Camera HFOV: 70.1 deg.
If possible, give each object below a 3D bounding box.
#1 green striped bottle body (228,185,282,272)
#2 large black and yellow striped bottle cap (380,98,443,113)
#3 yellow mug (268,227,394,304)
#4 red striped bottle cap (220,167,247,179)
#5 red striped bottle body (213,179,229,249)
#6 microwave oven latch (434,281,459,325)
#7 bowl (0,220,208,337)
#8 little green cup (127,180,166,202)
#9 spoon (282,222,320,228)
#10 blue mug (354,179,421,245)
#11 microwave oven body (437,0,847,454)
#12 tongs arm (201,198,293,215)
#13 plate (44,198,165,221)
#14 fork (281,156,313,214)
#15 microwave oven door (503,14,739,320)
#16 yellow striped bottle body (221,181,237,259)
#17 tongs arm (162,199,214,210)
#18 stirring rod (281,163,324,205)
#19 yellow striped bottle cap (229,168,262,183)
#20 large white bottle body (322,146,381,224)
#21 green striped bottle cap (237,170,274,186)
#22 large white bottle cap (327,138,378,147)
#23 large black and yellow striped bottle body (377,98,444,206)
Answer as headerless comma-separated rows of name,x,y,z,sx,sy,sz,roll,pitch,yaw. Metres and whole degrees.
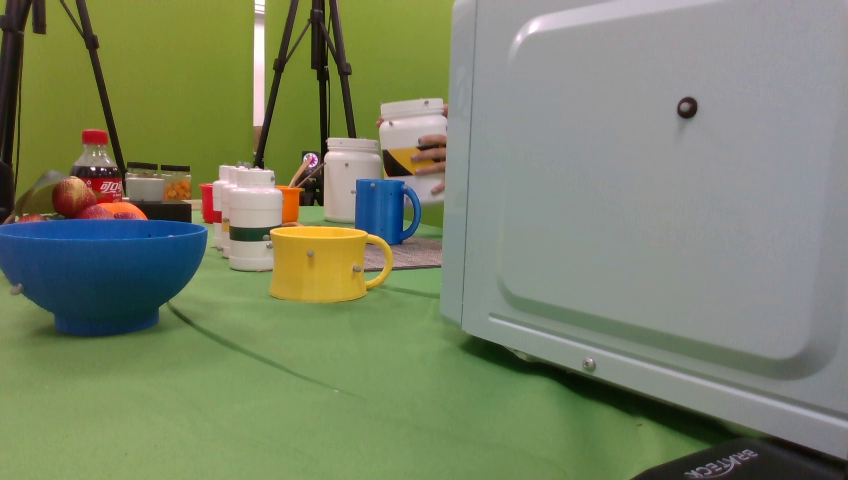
green striped bottle body,-0.208,-0.024,0.745,0.063,0.119,0.063,2,7,0
large black and yellow striped bottle cap,-0.023,-0.243,1.097,0.115,0.019,0.115,-6,10,1
yellow mug,-0.094,0.023,0.630,0.131,0.064,0.099,0,8,-22
red striped bottle cap,-0.281,-0.100,0.901,0.044,0.017,0.044,-1,5,0
red striped bottle body,-0.284,-0.047,0.908,0.063,0.119,0.063,2,8,0
microwave oven latch,0.044,0.045,0.470,0.079,0.029,0.030,-2,8,-39
bowl,-0.251,0.029,0.479,0.151,0.077,0.151,2,7,0
little green cup,-0.486,-0.087,1.062,0.061,0.038,0.061,0,7,0
spoon,-0.227,-0.023,1.085,0.042,0.021,0.193,-24,18,-23
blue mug,-0.060,-0.047,1.006,0.116,0.106,0.082,5,8,20
microwave oven body,0.279,-0.040,0.464,0.444,0.260,0.324,-3,9,-41
tongs arm,-0.423,-0.084,1.472,0.050,0.026,0.386,2,6,21
plate,-0.617,-0.056,1.179,0.209,0.038,0.209,3,7,0
fork,-0.289,-0.116,1.320,0.028,0.019,0.207,-2,48,27
microwave oven door,0.218,-0.065,0.600,0.358,0.243,0.039,-4,10,-41
yellow striped bottle body,-0.244,-0.035,0.823,0.063,0.120,0.063,2,8,0
tongs arm,-0.504,-0.091,1.513,0.028,0.028,0.389,0,4,37
stirring rod,-0.278,-0.105,1.293,0.176,0.006,0.014,-47,25,-18
yellow striped bottle cap,-0.240,-0.087,0.816,0.044,0.018,0.044,-2,5,1
large white bottle body,-0.163,-0.134,1.369,0.131,0.184,0.130,2,7,0
green striped bottle cap,-0.206,-0.075,0.737,0.044,0.020,0.044,1,6,0
large white bottle cap,-0.160,-0.218,1.357,0.115,0.018,0.115,2,8,0
large black and yellow striped bottle body,-0.016,-0.161,1.109,0.131,0.184,0.130,-5,9,1
